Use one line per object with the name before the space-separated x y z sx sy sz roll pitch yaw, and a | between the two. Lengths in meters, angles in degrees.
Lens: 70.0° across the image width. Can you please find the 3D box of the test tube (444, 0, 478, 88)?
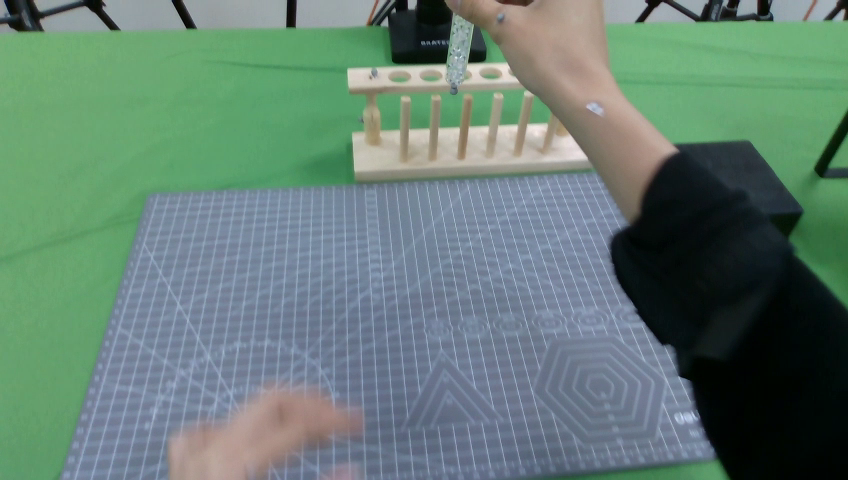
test tube | 0.029 -0.166 0.400 0.017 0.151 0.017 4 48 -4

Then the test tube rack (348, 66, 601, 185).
test tube rack | 0.050 -0.114 0.599 0.243 0.086 0.066 -4 45 -6
